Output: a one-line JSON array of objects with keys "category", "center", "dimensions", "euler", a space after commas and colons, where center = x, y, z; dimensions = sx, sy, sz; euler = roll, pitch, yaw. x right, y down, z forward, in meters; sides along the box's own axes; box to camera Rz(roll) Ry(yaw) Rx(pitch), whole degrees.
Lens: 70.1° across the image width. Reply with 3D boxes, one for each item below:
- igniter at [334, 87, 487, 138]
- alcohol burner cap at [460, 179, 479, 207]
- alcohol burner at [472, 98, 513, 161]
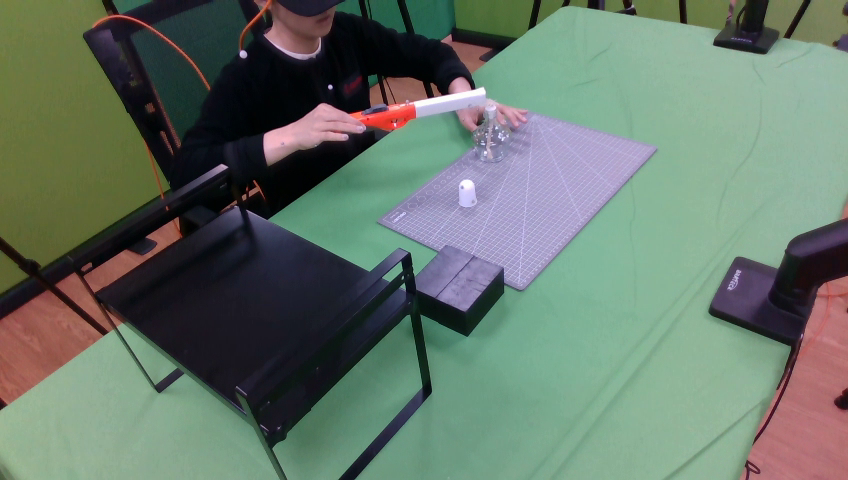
[{"category": "igniter", "center": [-0.025, -0.225, 1.061], "dimensions": [0.277, 0.057, 0.025], "euler": [-14, 55, -5]}, {"category": "alcohol burner cap", "center": [0.078, -0.083, 1.041], "dimensions": [0.034, 0.048, 0.033], "euler": [-5, 42, 5]}, {"category": "alcohol burner", "center": [0.127, -0.208, 1.123], "dimensions": [0.078, 0.119, 0.077], "euler": [-5, 39, 5]}]
